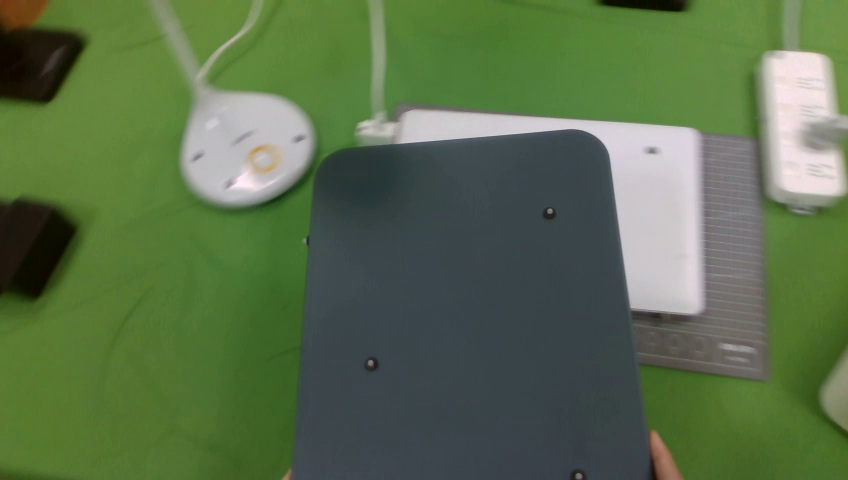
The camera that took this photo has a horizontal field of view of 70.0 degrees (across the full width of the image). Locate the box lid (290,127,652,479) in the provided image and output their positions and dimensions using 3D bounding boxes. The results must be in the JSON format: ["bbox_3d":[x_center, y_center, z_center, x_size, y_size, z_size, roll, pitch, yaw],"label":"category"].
[{"bbox_3d":[0.030,0.076,0.478,0.263,0.015,0.368,-3,69,7],"label":"box lid"}]

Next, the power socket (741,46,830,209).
[{"bbox_3d":[0.425,-0.142,0.719,0.072,0.033,0.225,6,64,6],"label":"power socket"}]

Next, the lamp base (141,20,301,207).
[{"bbox_3d":[-0.248,-0.152,0.689,0.178,0.182,0.160,32,70,21],"label":"lamp base"}]

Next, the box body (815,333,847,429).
[{"bbox_3d":[0.564,0.075,0.529,0.252,0.161,0.363,38,72,20],"label":"box body"}]

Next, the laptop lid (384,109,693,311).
[{"bbox_3d":[0.117,-0.044,0.687,0.356,0.013,0.240,6,67,7],"label":"laptop lid"}]

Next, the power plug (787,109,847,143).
[{"bbox_3d":[0.449,-0.121,0.682,0.072,0.053,0.035,16,65,10],"label":"power plug"}]

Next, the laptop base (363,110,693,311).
[{"bbox_3d":[0.119,-0.041,0.699,0.354,0.023,0.234,4,68,6],"label":"laptop base"}]

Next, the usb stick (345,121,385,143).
[{"bbox_3d":[-0.065,-0.128,0.741,0.059,0.027,0.021,8,59,5],"label":"usb stick"}]
